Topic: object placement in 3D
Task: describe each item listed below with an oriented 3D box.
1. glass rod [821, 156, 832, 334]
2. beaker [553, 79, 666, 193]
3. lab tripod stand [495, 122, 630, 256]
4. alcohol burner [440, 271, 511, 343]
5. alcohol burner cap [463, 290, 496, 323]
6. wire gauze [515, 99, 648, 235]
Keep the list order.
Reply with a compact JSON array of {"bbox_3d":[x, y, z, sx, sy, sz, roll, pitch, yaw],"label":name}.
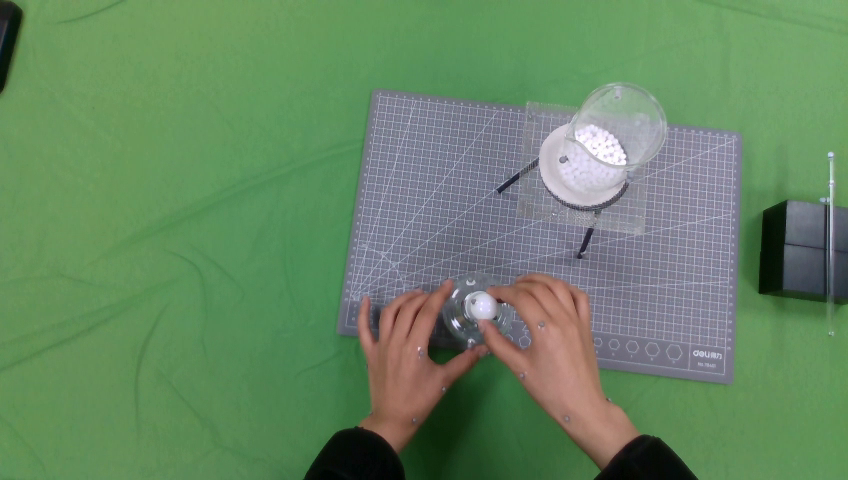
[{"bbox_3d":[0.439,0.003,0.660,0.008,0.008,0.199,8,81,1],"label":"glass rod"},{"bbox_3d":[0.156,-0.086,0.539,0.084,0.100,0.073,-9,80,-2],"label":"beaker"},{"bbox_3d":[0.157,-0.065,0.651,0.148,0.132,0.147,0,78,0],"label":"lab tripod stand"},{"bbox_3d":[0.055,0.070,0.637,0.078,0.119,0.077,0,82,-1],"label":"alcohol burner"},{"bbox_3d":[0.055,0.066,0.595,0.034,0.048,0.034,0,84,2],"label":"alcohol burner cap"},{"bbox_3d":[0.153,-0.073,0.586,0.125,0.011,0.121,9,81,-2],"label":"wire gauze"}]
